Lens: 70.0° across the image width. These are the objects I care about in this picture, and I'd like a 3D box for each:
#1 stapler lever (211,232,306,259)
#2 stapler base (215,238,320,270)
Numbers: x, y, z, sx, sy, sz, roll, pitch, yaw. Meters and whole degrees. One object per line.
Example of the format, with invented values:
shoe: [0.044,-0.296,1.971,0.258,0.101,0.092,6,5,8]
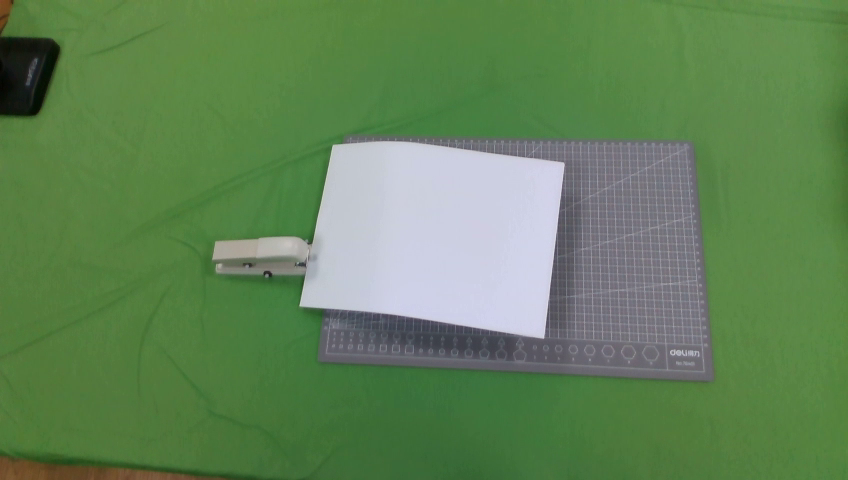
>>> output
stapler lever: [-0.199,0.007,0.722,0.118,0.040,0.026,1,72,4]
stapler base: [-0.196,0.014,0.746,0.130,0.024,0.041,0,72,5]
